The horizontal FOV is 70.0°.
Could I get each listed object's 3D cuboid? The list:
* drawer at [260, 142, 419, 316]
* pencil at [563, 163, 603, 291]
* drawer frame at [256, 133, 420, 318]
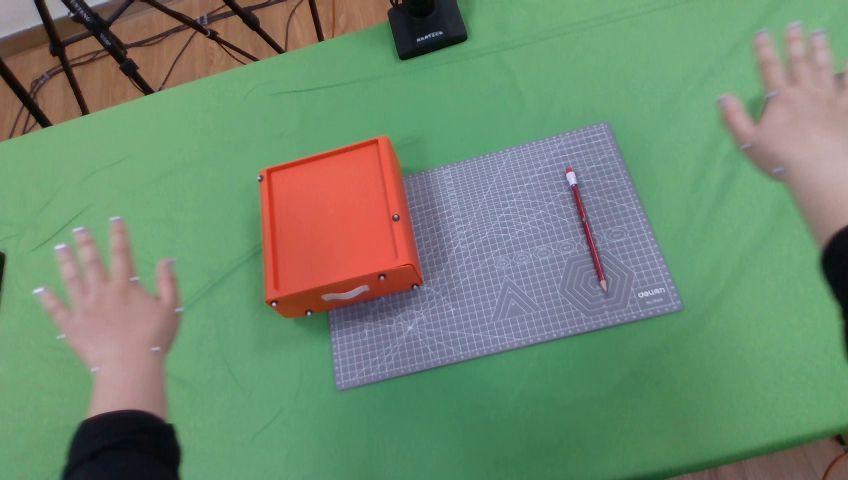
[{"bbox_3d":[-0.122,-0.018,0.845,0.194,0.074,0.209,-15,61,6],"label":"drawer"},{"bbox_3d":[0.214,-0.021,0.813,0.012,0.012,0.192,-12,65,7],"label":"pencil"},{"bbox_3d":[-0.124,-0.020,0.845,0.201,0.083,0.211,-16,61,6],"label":"drawer frame"}]
